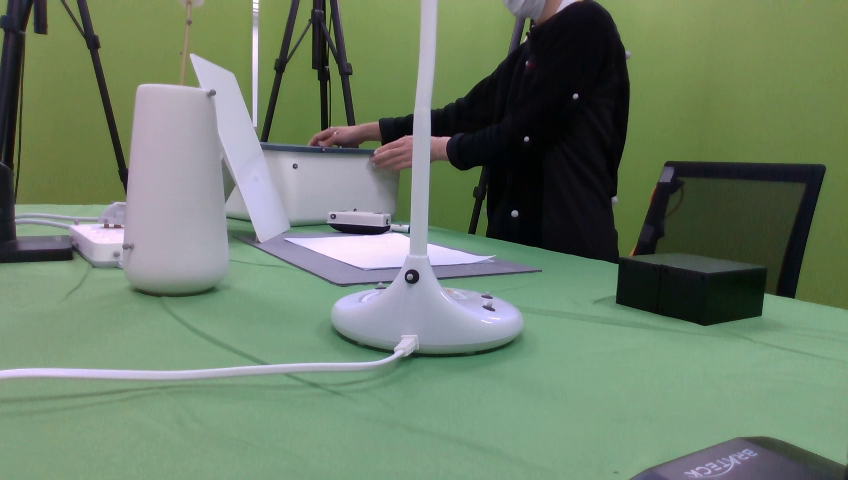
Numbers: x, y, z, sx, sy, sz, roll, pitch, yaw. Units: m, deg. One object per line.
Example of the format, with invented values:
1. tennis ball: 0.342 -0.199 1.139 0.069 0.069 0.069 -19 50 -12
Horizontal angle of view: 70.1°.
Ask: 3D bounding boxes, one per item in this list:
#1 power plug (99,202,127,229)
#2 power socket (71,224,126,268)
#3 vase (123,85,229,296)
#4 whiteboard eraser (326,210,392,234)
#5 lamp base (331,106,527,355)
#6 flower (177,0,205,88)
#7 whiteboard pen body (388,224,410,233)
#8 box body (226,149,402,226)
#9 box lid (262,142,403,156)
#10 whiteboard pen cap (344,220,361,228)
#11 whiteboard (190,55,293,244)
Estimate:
1. power plug: -0.415 -0.026 0.848 0.073 0.052 0.035 6 5 -28
2. power socket: -0.409 0.004 0.793 0.072 0.032 0.225 -2 8 -37
3. vase: -0.244 -0.047 0.598 0.098 0.200 0.098 3 9 0
4. whiteboard eraser: -0.121 -0.034 1.131 0.112 0.042 0.056 4 8 13
5. lamp base: 0.006 -0.012 0.478 0.161 0.180 0.179 2 10 2
6. flower: -0.243 -0.131 0.609 0.044 0.361 0.038 -5 -12 12
7. whiteboard pen body: -0.088 -0.026 1.214 0.140 0.017 0.017 5 8 18
8. box body: -0.254 -0.129 1.379 0.253 0.160 0.366 8 9 36
9. box lid: -0.253 -0.206 1.360 0.262 0.015 0.373 10 10 36
10. whiteboard pen cap: -0.144 -0.032 1.230 0.033 0.018 0.018 6 8 17
11. whiteboard: -0.362 -0.129 1.029 0.144 0.305 0.217 -18 7 3
